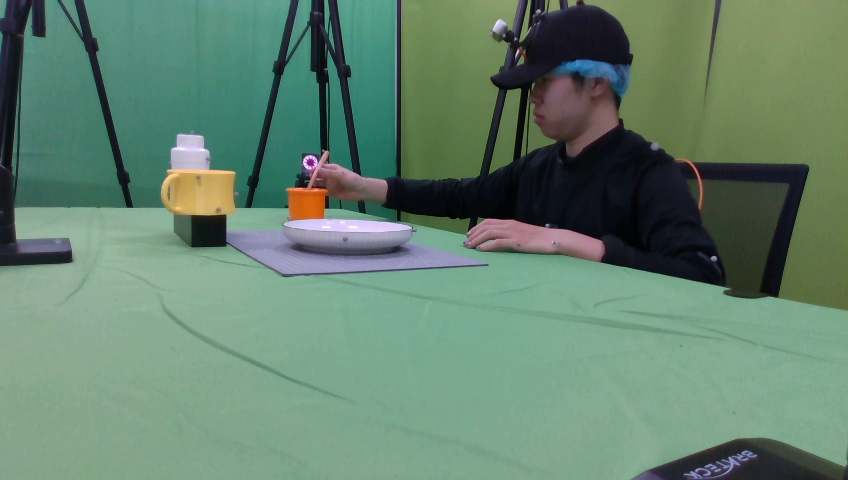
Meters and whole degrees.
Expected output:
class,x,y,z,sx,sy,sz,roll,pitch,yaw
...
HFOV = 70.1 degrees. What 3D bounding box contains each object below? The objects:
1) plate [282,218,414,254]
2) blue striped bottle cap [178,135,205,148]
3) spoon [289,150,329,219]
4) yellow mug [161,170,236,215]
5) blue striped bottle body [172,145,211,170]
class,x,y,z,sx,sy,sz,roll,pitch,yaw
plate,-0.121,-0.007,0.971,0.208,0.039,0.207,2,7,0
blue striped bottle cap,-0.405,-0.171,1.053,0.044,0.020,0.044,3,10,0
spoon,-0.256,-0.128,1.372,0.041,0.193,0.022,12,-23,19
yellow mug,-0.353,-0.074,0.935,0.099,0.064,0.131,5,9,21
blue striped bottle body,-0.407,-0.120,1.059,0.063,0.120,0.063,3,8,0
